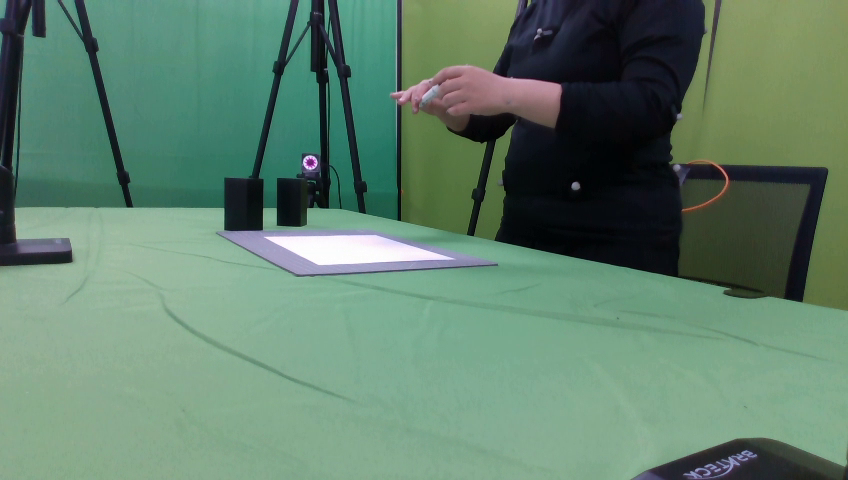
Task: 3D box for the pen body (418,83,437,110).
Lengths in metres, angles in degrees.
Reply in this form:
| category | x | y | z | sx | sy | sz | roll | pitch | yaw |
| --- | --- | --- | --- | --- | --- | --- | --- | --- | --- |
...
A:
| category | x | y | z | sx | sy | sz | roll | pitch | yaw |
| --- | --- | --- | --- | --- | --- | --- | --- | --- | --- |
| pen body | 0.008 | -0.270 | 1.136 | 0.017 | 0.017 | 0.144 | 1 | -5 | -11 |

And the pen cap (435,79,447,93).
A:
| category | x | y | z | sx | sy | sz | roll | pitch | yaw |
| --- | --- | --- | --- | --- | --- | --- | --- | --- | --- |
| pen cap | 0.029 | -0.274 | 1.076 | 0.017 | 0.017 | 0.038 | 0 | -2 | -18 |
